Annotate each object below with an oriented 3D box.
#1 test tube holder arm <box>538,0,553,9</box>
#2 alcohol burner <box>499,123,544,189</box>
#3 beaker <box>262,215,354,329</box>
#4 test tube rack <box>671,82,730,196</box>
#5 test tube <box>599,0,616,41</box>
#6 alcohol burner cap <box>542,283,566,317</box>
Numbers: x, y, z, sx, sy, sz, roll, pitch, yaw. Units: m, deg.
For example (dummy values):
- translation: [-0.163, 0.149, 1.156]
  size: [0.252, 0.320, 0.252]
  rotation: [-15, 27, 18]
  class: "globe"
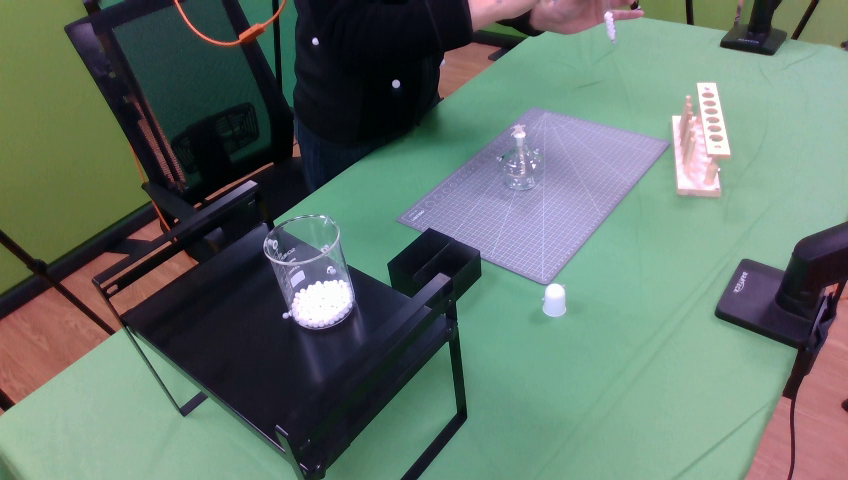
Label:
- translation: [0.218, -0.385, 0.872]
  size: [0.013, 0.015, 0.178]
  rotation: [16, 54, 44]
  class: "test tube holder arm"
- translation: [0.169, -0.149, 1.048]
  size: [0.078, 0.119, 0.077]
  rotation: [-6, 41, 5]
  class: "alcohol burner"
- translation: [-0.112, 0.034, 0.616]
  size: [0.073, 0.101, 0.084]
  rotation: [13, 44, 22]
  class: "beaker"
- translation: [0.482, -0.184, 1.067]
  size: [0.066, 0.085, 0.242]
  rotation: [6, 42, 14]
  class: "test tube rack"
- translation: [0.280, -0.382, 0.942]
  size: [0.017, 0.151, 0.017]
  rotation: [-17, 36, 13]
  class: "test tube"
- translation: [0.182, 0.081, 0.839]
  size: [0.034, 0.048, 0.033]
  rotation: [-4, 41, 4]
  class: "alcohol burner cap"
